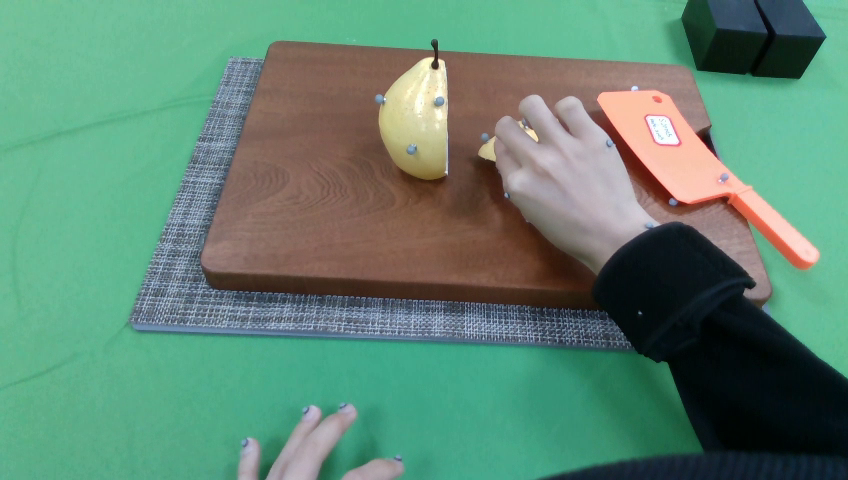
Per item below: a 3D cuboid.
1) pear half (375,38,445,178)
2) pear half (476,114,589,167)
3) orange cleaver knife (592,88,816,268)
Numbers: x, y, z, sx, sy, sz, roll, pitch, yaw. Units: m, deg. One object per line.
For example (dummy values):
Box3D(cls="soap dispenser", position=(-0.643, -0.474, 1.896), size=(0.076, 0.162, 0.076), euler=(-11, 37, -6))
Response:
Box3D(cls="pear half", position=(-0.008, -0.099, 0.443), size=(0.056, 0.111, 0.075), euler=(-2, 48, -4))
Box3D(cls="pear half", position=(0.085, -0.082, 0.474), size=(0.088, 0.031, 0.070), euler=(2, 25, 9))
Box3D(cls="orange cleaver knife", position=(0.214, -0.056, 0.483), size=(0.077, 0.012, 0.209), euler=(-19, 59, -21))
